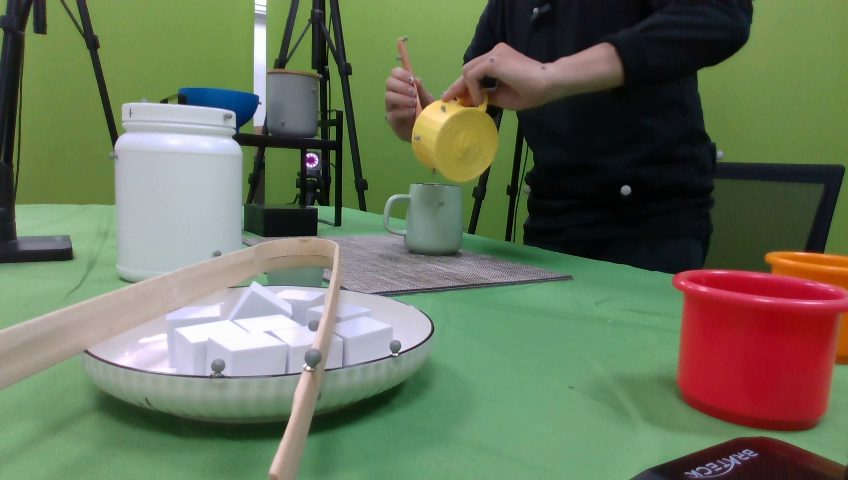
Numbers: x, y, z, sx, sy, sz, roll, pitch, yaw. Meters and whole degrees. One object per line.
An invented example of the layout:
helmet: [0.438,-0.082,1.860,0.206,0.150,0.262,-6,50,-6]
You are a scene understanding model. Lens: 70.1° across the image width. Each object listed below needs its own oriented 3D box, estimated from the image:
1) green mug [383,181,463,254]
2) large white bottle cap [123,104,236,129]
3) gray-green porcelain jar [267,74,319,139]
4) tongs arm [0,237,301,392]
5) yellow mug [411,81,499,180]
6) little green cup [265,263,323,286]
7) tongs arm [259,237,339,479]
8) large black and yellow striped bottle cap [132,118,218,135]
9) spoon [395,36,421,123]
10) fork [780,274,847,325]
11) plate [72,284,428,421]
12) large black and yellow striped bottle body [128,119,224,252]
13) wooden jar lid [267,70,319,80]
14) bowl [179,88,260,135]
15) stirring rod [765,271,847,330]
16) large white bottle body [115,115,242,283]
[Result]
green mug: [-0.001,-0.036,0.921,0.126,0.105,0.092,0,8,-16]
large white bottle cap: [-0.266,-0.134,0.663,0.115,0.018,0.115,3,7,0]
gray-green porcelain jar: [-0.277,-0.279,1.280,0.106,0.126,0.106,2,7,0]
tongs arm: [-0.158,0.038,0.346,0.028,0.028,0.388,-3,8,11]
yellow mug: [0.048,-0.152,0.811,0.100,0.130,0.063,18,13,-38]
little green cup: [-0.134,0.034,0.628,0.061,0.038,0.061,3,7,0]
tongs arm: [-0.074,0.040,0.345,0.051,0.026,0.384,-1,9,-3]
large black and yellow striped bottle cap: [-0.359,-0.164,0.875,0.115,0.019,0.115,2,6,0]
spoon: [-0.016,-0.214,0.895,0.041,0.193,0.022,-21,-15,27]
fork: [0.332,0.018,0.443,0.028,0.018,0.207,-2,-35,-16]
plate: [-0.102,0.067,0.381,0.208,0.039,0.207,3,7,0]
large black and yellow striped bottle body: [-0.361,-0.081,0.887,0.131,0.184,0.130,2,8,0]
wooden jar lid: [-0.275,-0.340,1.271,0.108,0.020,0.108,5,6,0]
bowl: [-0.400,-0.248,1.188,0.151,0.077,0.151,2,6,0]
stirring rod: [0.352,0.020,0.481,0.176,0.006,0.014,-40,-8,17]
large white bottle body: [-0.270,-0.051,0.673,0.131,0.184,0.130,2,8,0]
